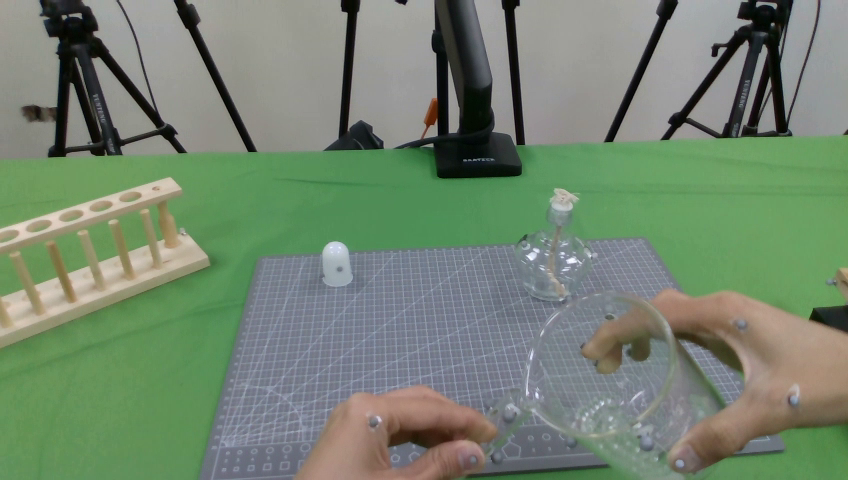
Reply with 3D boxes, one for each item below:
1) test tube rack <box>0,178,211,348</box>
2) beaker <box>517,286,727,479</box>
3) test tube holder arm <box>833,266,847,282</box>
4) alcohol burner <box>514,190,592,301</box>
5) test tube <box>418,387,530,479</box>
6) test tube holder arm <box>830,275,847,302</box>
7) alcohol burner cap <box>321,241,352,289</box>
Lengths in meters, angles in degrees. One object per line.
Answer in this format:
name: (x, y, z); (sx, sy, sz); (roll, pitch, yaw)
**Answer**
test tube rack: (-0.352, 0.022, 0.608); (0.243, 0.086, 0.066); (-24, 41, -31)
beaker: (0.106, 0.083, 0.314); (0.084, 0.101, 0.073); (-32, 40, 19)
test tube holder arm: (0.382, 0.052, 0.523); (0.015, 0.010, 0.087); (3, 35, 4)
alcohol burner: (0.131, 0.001, 0.606); (0.078, 0.120, 0.077); (1, 35, -1)
test tube: (0.009, 0.132, 0.336); (0.017, 0.150, 0.017); (28, 28, -16)
test tube holder arm: (0.378, 0.082, 0.490); (0.015, 0.013, 0.177); (3, 34, 4)
alcohol burner cap: (-0.094, 0.024, 0.638); (0.034, 0.048, 0.033); (0, 34, 1)
